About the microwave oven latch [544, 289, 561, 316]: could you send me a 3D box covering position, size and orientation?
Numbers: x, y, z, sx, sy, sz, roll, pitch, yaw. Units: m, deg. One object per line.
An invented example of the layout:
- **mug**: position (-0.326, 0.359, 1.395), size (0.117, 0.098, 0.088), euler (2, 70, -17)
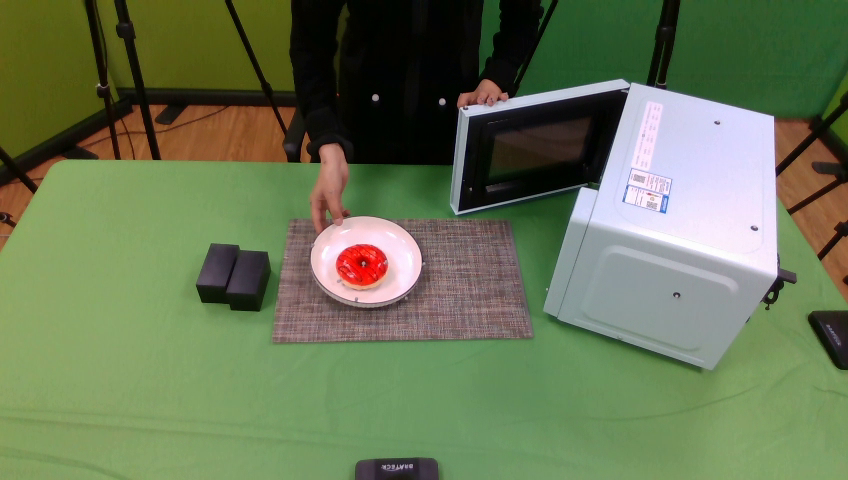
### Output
- **microwave oven latch**: position (0.237, 0.098, 1.087), size (0.030, 0.029, 0.079), euler (18, 47, 14)

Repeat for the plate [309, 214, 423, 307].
- **plate**: position (-0.108, 0.041, 1.124), size (0.209, 0.038, 0.208), euler (5, 51, -6)

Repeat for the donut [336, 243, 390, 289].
- **donut**: position (-0.112, 0.046, 1.105), size (0.099, 0.048, 0.098), euler (4, 49, -4)

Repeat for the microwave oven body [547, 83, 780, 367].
- **microwave oven body**: position (0.445, -0.041, 1.101), size (0.325, 0.261, 0.440), euler (17, 47, 13)

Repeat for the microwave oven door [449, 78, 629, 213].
- **microwave oven door**: position (0.229, -0.189, 1.220), size (0.356, 0.245, 0.039), euler (-14, 49, -16)
